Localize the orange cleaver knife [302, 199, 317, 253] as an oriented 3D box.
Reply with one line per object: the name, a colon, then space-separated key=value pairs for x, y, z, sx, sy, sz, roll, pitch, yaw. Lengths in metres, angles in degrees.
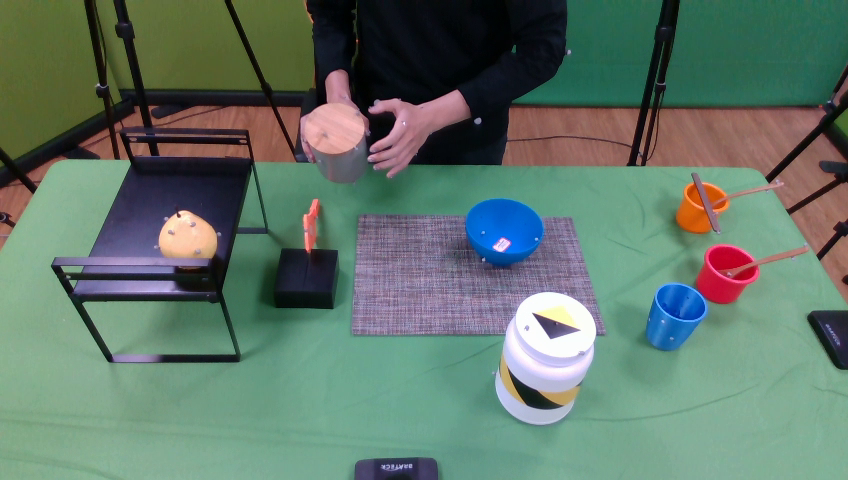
orange cleaver knife: x=-0.219 y=-0.031 z=1.168 sx=0.012 sy=0.077 sz=0.210 roll=-5 pitch=17 yaw=-3

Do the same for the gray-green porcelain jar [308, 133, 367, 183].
gray-green porcelain jar: x=-0.163 y=-0.175 z=1.152 sx=0.106 sy=0.127 sz=0.105 roll=1 pitch=69 yaw=-1

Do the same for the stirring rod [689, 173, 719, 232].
stirring rod: x=0.566 y=-0.079 z=1.225 sx=0.014 sy=0.006 sz=0.175 roll=2 pitch=45 yaw=2

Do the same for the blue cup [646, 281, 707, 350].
blue cup: x=0.425 y=0.136 z=1.042 sx=0.092 sy=0.101 sz=0.092 roll=1 pitch=44 yaw=-1

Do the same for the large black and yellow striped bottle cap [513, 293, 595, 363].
large black and yellow striped bottle cap: x=0.186 y=0.123 z=0.863 sx=0.115 sy=0.019 sz=0.114 roll=3 pitch=45 yaw=-3

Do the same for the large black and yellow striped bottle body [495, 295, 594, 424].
large black and yellow striped bottle body: x=0.183 y=0.182 z=0.923 sx=0.131 sy=0.185 sz=0.130 roll=2 pitch=46 yaw=-2

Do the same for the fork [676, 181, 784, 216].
fork: x=0.618 y=-0.084 z=1.235 sx=0.019 sy=0.207 sz=0.028 roll=54 pitch=40 yaw=-16

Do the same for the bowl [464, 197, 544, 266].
bowl: x=0.149 y=-0.004 z=1.167 sx=0.151 sy=0.077 sz=0.150 roll=2 pitch=46 yaw=-2

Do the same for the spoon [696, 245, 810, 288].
spoon: x=0.601 y=0.047 z=1.114 sx=0.193 sy=0.022 sz=0.041 roll=-27 pitch=36 yaw=33

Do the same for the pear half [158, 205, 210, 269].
pear half: x=-0.352 y=-0.015 z=0.872 sx=0.056 sy=0.110 sz=0.076 roll=25 pitch=46 yaw=19

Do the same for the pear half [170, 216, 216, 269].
pear half: x=-0.323 y=0.007 z=0.866 sx=0.031 sy=0.088 sz=0.070 roll=25 pitch=46 yaw=20

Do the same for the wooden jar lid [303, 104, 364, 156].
wooden jar lid: x=-0.162 y=-0.197 z=1.094 sx=0.108 sy=0.021 sz=0.108 roll=1 pitch=67 yaw=-3
